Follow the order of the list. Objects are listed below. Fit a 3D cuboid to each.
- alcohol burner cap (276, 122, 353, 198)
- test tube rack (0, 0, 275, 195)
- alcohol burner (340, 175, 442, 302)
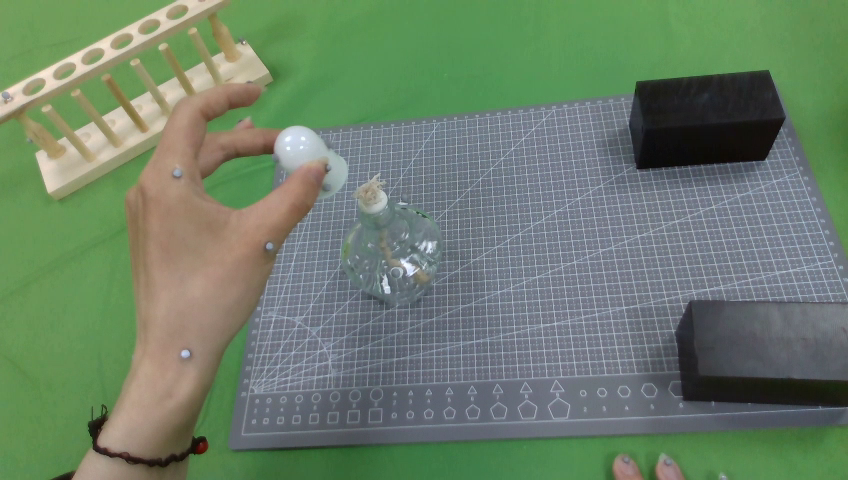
[{"bbox_3d":[-0.067,-0.049,0.358,0.034,0.048,0.033,-9,63,19],"label":"alcohol burner cap"},{"bbox_3d":[-0.280,-0.150,0.593,0.242,0.086,0.066,-32,59,-9],"label":"test tube rack"},{"bbox_3d":[-0.027,-0.004,0.439,0.078,0.120,0.077,-5,56,8],"label":"alcohol burner"}]
